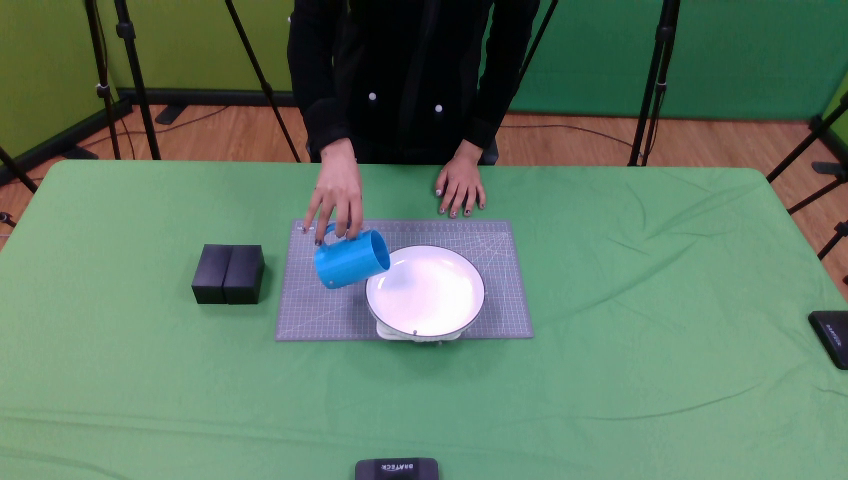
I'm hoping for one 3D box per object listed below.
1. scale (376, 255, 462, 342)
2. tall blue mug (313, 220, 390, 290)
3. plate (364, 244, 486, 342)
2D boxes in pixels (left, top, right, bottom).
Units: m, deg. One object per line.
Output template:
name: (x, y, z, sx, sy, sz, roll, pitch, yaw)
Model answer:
scale: (-0.010, 0.096, 1.094, 0.149, 0.032, 0.199, 2, 46, -3)
tall blue mug: (-0.128, 0.026, 1.016, 0.108, 0.108, 0.077, -19, 57, 16)
plate: (0.001, 0.094, 1.051, 0.209, 0.038, 0.208, 1, 46, -1)
